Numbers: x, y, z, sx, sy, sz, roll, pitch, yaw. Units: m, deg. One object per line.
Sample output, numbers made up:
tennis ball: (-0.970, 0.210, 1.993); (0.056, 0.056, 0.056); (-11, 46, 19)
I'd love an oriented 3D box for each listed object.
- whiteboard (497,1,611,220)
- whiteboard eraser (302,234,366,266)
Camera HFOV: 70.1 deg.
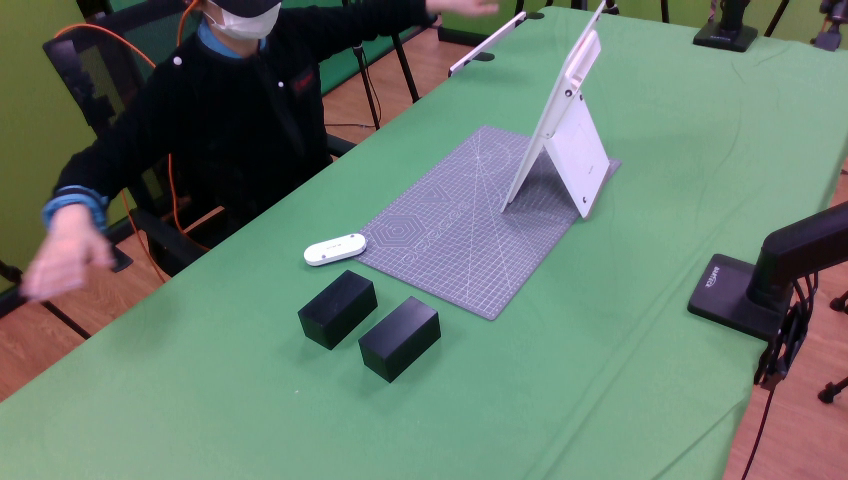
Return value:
whiteboard: (0.259, -0.177, 0.963); (0.143, 0.306, 0.217); (28, 48, 9)
whiteboard eraser: (-0.144, 0.015, 0.970); (0.101, 0.019, 0.041); (-14, 43, -6)
